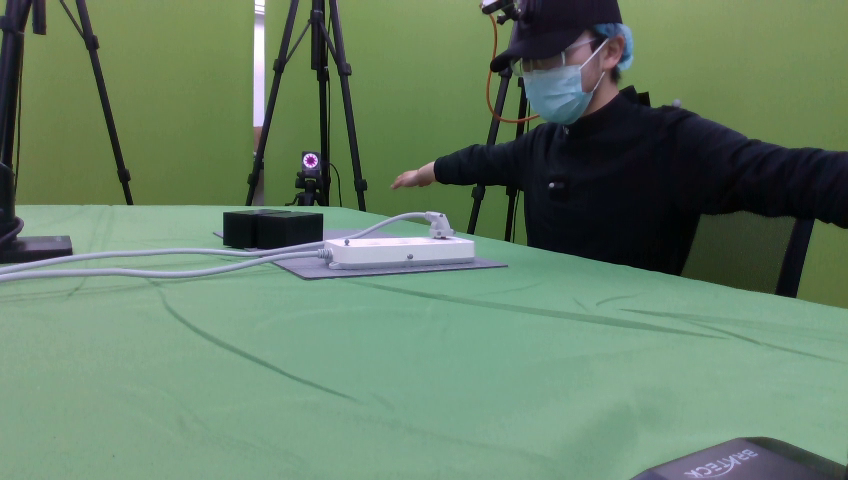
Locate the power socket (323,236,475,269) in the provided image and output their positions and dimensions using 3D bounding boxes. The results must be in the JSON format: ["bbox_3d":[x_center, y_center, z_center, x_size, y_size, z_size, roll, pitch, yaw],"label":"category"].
[{"bbox_3d":[-0.030,0.014,0.823,0.228,0.032,0.072,-2,8,-31],"label":"power socket"}]

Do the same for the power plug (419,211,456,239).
[{"bbox_3d":[0.020,-0.016,0.884,0.035,0.052,0.072,-1,8,-20],"label":"power plug"}]
